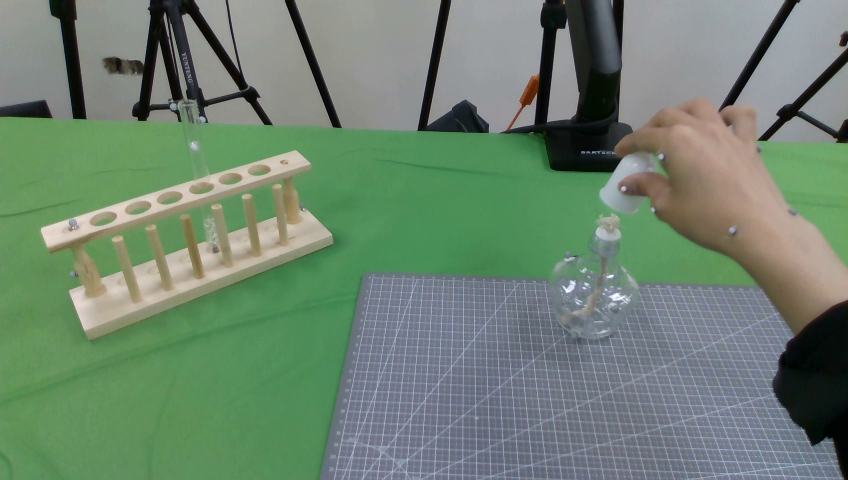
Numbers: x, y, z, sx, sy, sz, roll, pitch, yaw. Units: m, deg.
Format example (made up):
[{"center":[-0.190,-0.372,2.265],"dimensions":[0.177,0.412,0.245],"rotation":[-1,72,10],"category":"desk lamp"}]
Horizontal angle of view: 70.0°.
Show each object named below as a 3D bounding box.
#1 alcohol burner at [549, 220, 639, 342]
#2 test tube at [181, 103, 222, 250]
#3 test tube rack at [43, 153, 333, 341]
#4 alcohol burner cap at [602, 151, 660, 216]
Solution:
[{"center":[0.150,0.030,0.522],"dimensions":[0.078,0.120,0.077],"rotation":[1,39,-1],"category":"alcohol burner"},{"center":[-0.209,-0.056,0.576],"dimensions":[0.017,0.151,0.017],"rotation":[1,31,0],"category":"test tube"},{"center":[-0.214,-0.001,0.586],"dimensions":[0.243,0.086,0.066],"rotation":[-23,43,-28],"category":"test tube rack"},{"center":[0.161,-0.045,0.462],"dimensions":[0.034,0.048,0.033],"rotation":[11,40,-9],"category":"alcohol burner cap"}]
